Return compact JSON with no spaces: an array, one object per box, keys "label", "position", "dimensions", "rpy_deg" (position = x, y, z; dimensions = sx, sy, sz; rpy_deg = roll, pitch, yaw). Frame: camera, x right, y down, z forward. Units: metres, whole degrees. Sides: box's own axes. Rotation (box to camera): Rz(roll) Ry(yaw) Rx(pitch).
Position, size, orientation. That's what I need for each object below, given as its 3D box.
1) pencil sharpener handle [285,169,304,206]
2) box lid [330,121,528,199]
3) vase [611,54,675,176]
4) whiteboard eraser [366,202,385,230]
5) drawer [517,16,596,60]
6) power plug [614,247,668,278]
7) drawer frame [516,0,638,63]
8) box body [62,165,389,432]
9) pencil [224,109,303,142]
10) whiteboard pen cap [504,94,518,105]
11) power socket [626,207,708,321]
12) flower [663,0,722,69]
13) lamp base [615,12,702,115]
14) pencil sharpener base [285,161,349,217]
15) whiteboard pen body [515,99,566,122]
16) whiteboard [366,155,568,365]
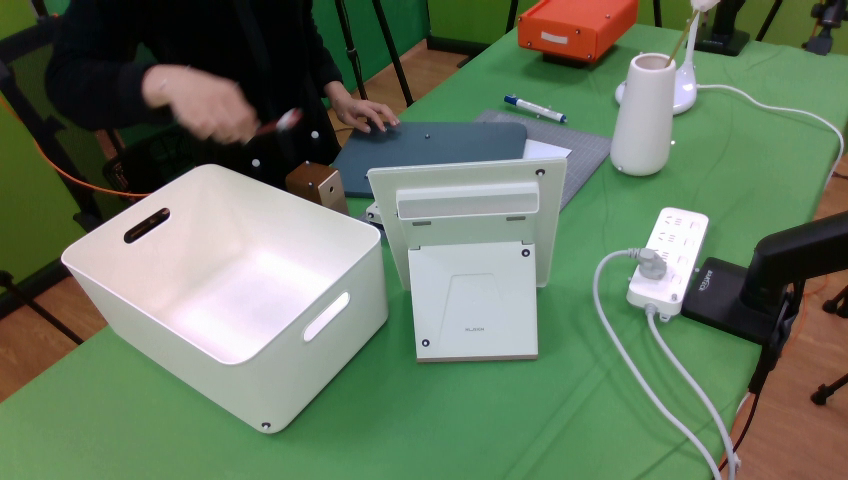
[{"label":"pencil sharpener handle","position":[-0.227,-0.091,1.031],"dimensions":[0.030,0.068,0.036],"rpy_deg":[17,35,26]},{"label":"box lid","position":[0.009,-0.158,1.167],"dimensions":[0.370,0.015,0.262],"rpy_deg":[3,41,13]},{"label":"vase","position":[0.377,-0.209,1.031],"dimensions":[0.098,0.201,0.097],"rpy_deg":[-3,40,3]},{"label":"whiteboard eraser","position":[-0.037,-0.038,1.006],"dimensions":[0.112,0.042,0.055],"rpy_deg":[16,48,25]},{"label":"drawer","position":[0.353,-0.506,1.405],"dimensions":[0.193,0.073,0.212],"rpy_deg":[23,49,32]},{"label":"power plug","position":[0.306,0.031,0.851],"dimensions":[0.072,0.053,0.035],"rpy_deg":[24,49,33]},{"label":"drawer frame","position":[0.355,-0.508,1.410],"dimensions":[0.200,0.083,0.214],"rpy_deg":[23,51,32]},{"label":"box body","position":[-0.255,0.065,0.827],"dimensions":[0.361,0.161,0.255],"rpy_deg":[21,48,29]},{"label":"pencil","position":[-0.200,-0.135,0.732],"dimensions":[0.192,0.012,0.012],"rpy_deg":[-3,32,47]},{"label":"whiteboard pen cap","position":[0.190,-0.299,1.292],"dimensions":[0.033,0.018,0.018],"rpy_deg":[30,52,28]},{"label":"power socket","position":[0.359,0.025,0.886],"dimensions":[0.072,0.033,0.227],"rpy_deg":[16,46,26]},{"label":"flower","position":[0.379,-0.261,0.965],"dimensions":[0.044,0.362,0.038],"rpy_deg":[20,53,5]},{"label":"lamp base","position":[0.484,-0.364,1.211],"dimensions":[0.180,0.181,0.159],"rpy_deg":[-15,41,-14]},{"label":"pencil sharpener base","position":[-0.180,-0.071,1.019],"dimensions":[0.076,0.107,0.061],"rpy_deg":[16,46,26]},{"label":"whiteboard pen body","position":[0.233,-0.274,1.262],"dimensions":[0.139,0.017,0.017],"rpy_deg":[28,51,29]},{"label":"whiteboard","position":[0.059,0.050,0.738],"dimensions":[0.217,0.307,0.143],"rpy_deg":[-2,60,5]}]
